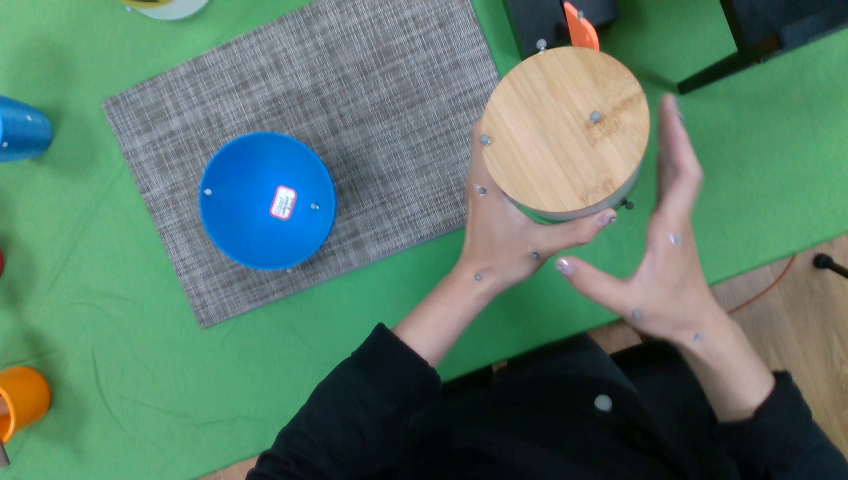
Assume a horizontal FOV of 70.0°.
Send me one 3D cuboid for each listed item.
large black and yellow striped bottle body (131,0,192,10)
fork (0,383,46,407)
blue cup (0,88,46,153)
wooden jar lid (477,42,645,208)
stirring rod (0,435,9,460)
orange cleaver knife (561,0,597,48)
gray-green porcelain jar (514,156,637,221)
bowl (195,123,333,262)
[{"bbox_3d":[-0.310,-0.322,0.613,0.130,0.184,0.131,1,97,5],"label":"large black and yellow striped bottle body"},{"bbox_3d":[-0.572,0.204,0.720,0.208,0.018,0.028,-8,108,-38],"label":"fork"},{"bbox_3d":[-0.493,-0.137,0.693,0.092,0.100,0.093,0,98,3],"label":"blue cup"},{"bbox_3d":[0.089,-0.074,0.401,0.108,0.021,0.108,-1,88,19],"label":"wooden jar lid"},{"bbox_3d":[-0.527,0.177,0.711,0.014,0.006,0.176,-17,96,5],"label":"stirring rod"},{"bbox_3d":[0.182,-0.158,0.643,0.012,0.076,0.213,-26,124,4],"label":"orange cleaver knife"},{"bbox_3d":[0.107,-0.070,0.460,0.105,0.127,0.105,-1,86,18],"label":"gray-green porcelain jar"},{"bbox_3d":[-0.169,-0.054,0.685,0.151,0.076,0.151,1,97,5],"label":"bowl"}]
